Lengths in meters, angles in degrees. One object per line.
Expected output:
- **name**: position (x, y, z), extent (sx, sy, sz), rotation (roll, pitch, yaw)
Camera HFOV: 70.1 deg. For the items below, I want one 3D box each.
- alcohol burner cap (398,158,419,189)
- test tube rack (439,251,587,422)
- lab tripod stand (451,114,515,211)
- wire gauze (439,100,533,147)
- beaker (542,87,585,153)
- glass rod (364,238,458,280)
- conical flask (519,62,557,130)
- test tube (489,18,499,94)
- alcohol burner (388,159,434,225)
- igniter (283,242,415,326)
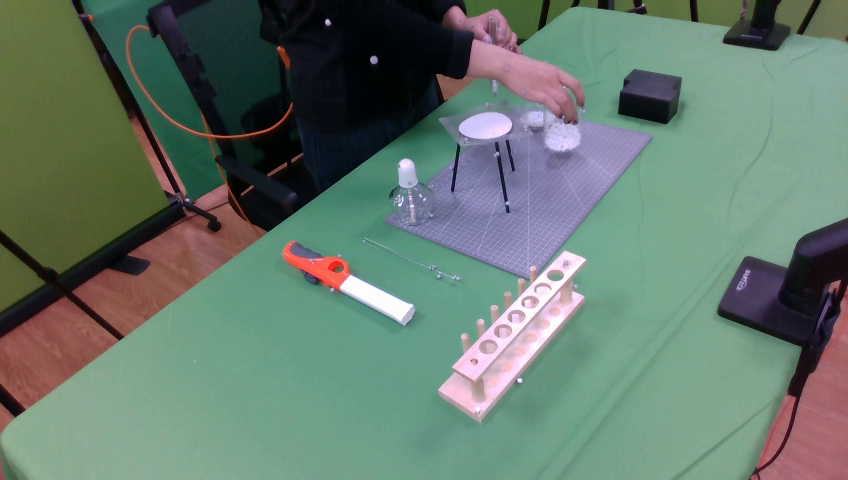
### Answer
- **alcohol burner cap**: position (-0.027, -0.111, 0.989), extent (0.034, 0.048, 0.033), rotation (-3, 46, 4)
- **test tube rack**: position (0.118, 0.111, 0.780), extent (0.066, 0.085, 0.243), rotation (26, 51, 35)
- **lab tripod stand**: position (0.113, -0.140, 1.037), extent (0.148, 0.132, 0.147), rotation (-6, 38, 5)
- **wire gauze**: position (0.100, -0.190, 0.994), extent (0.125, 0.011, 0.120), rotation (-15, 39, -7)
- **beaker**: position (0.253, -0.217, 1.092), extent (0.073, 0.101, 0.084), rotation (8, 43, 21)
- **glass rod**: position (-0.026, 0.029, 0.966), extent (0.198, 0.008, 0.008), rotation (21, 49, 35)
- **conical flask**: position (0.225, -0.287, 1.198), extent (0.075, 0.122, 0.075), rotation (-6, 40, 5)
- **test tube**: position (0.128, -0.332, 1.101), extent (0.017, 0.151, 0.017), rotation (-4, 47, 5)
- **alcohol burner**: position (-0.023, -0.084, 1.013), extent (0.078, 0.119, 0.077), rotation (-4, 39, 4)
- **igniter**: position (-0.126, 0.062, 0.931), extent (0.274, 0.025, 0.057), rotation (24, 61, 33)
